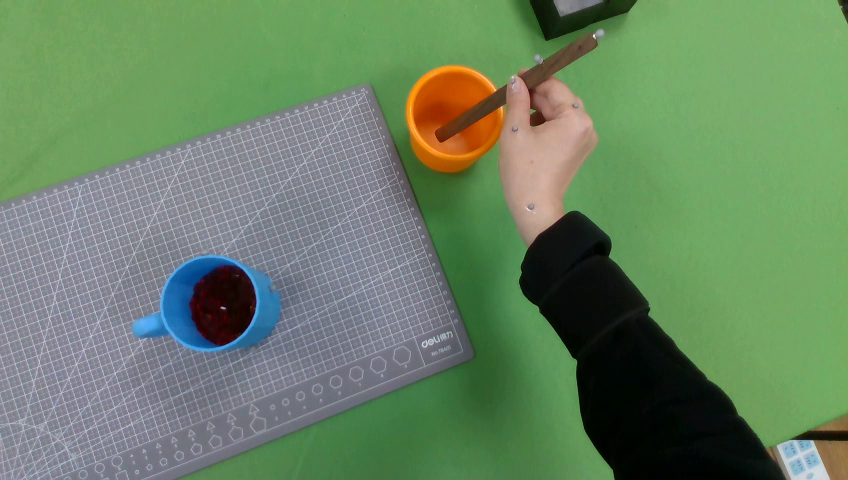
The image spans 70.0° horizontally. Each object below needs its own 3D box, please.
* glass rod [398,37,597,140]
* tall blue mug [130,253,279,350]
[{"bbox_3d":[0.053,-0.124,0.515,0.199,0.008,0.008,-20,82,35],"label":"glass rod"},{"bbox_3d":[-0.185,0.066,0.525,0.107,0.108,0.078,-44,88,-9],"label":"tall blue mug"}]
